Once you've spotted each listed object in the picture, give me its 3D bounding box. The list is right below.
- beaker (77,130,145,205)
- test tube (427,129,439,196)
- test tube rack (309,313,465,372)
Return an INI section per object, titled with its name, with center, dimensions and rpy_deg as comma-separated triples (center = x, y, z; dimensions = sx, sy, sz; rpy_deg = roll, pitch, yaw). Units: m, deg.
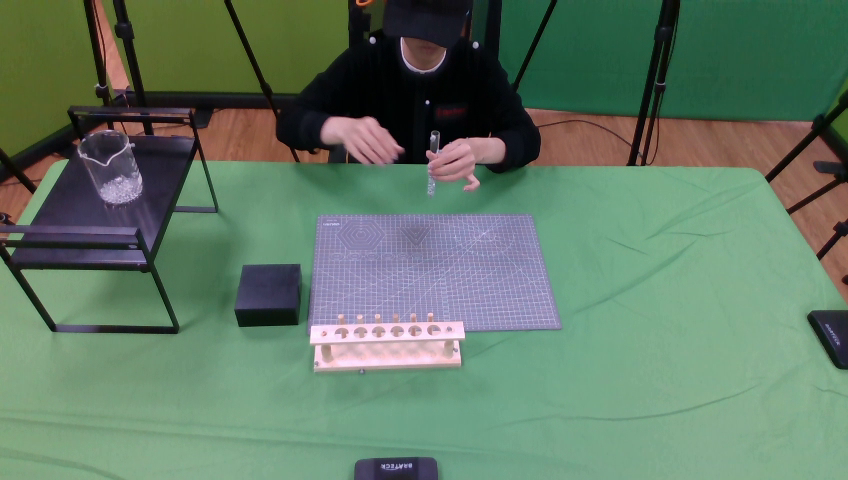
[beaker]
center = -0.493, -0.111, 0.964
dimensions = 0.074, 0.101, 0.083
rpy_deg = -14, 49, -16
[test tube]
center = 0.017, -0.138, 1.106
dimensions = 0.017, 0.151, 0.017
rpy_deg = 2, 47, -1
[test tube rack]
center = -0.059, 0.161, 0.990
dimensions = 0.242, 0.085, 0.066
rpy_deg = -1, 46, -5
